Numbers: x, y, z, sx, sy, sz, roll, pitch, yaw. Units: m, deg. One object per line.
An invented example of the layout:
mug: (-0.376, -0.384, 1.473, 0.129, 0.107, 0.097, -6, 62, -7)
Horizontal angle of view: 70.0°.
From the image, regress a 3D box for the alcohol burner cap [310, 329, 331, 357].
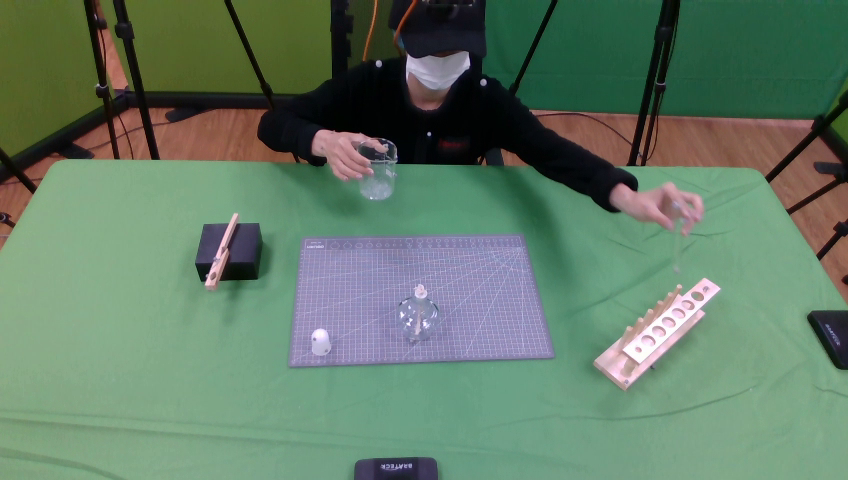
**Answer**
alcohol burner cap: (-0.173, 0.168, 1.005, 0.034, 0.048, 0.033, 2, 46, -2)

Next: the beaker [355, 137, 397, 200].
beaker: (-0.089, -0.131, 1.141, 0.083, 0.101, 0.074, 28, 47, 20)

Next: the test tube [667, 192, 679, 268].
test tube: (0.392, -0.012, 0.955, 0.017, 0.151, 0.017, -11, 39, 9)

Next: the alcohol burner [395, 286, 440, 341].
alcohol burner: (-0.010, 0.116, 1.018, 0.078, 0.119, 0.077, 3, 47, -3)

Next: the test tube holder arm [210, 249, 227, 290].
test tube holder arm: (-0.359, 0.050, 1.059, 0.010, 0.015, 0.087, 8, 45, -8)

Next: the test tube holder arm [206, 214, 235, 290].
test tube holder arm: (-0.365, 0.017, 1.090, 0.013, 0.015, 0.177, 7, 45, -8)

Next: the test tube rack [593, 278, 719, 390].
test tube rack: (0.401, 0.148, 1.043, 0.242, 0.085, 0.066, -30, 55, -29)
